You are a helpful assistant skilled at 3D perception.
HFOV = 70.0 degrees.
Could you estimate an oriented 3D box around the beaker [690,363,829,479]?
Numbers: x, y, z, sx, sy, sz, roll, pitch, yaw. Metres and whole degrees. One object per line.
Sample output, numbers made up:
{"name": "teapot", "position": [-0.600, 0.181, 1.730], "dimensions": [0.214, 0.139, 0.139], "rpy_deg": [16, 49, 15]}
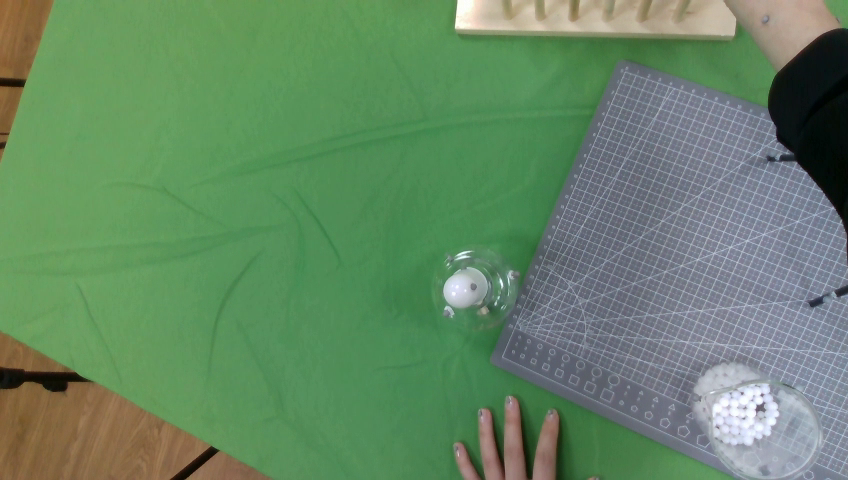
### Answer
{"name": "beaker", "position": [0.250, 0.136, 0.472], "dimensions": [0.083, 0.100, 0.074], "rpy_deg": [30, 95, 13]}

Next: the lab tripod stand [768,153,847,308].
{"name": "lab tripod stand", "position": [0.326, -0.016, 0.438], "dimensions": [0.148, 0.132, 0.148], "rpy_deg": [0, 90, 12]}

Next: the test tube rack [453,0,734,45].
{"name": "test tube rack", "position": [0.140, -0.214, 0.513], "dimensions": [0.241, 0.085, 0.066], "rpy_deg": [5, 90, 13]}

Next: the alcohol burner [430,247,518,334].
{"name": "alcohol burner", "position": [0.040, 0.043, 0.519], "dimensions": [0.078, 0.119, 0.078], "rpy_deg": [-1, 87, 12]}

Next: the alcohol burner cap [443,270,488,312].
{"name": "alcohol burner cap", "position": [0.031, 0.042, 0.484], "dimensions": [0.034, 0.048, 0.034], "rpy_deg": [1, 92, 15]}
